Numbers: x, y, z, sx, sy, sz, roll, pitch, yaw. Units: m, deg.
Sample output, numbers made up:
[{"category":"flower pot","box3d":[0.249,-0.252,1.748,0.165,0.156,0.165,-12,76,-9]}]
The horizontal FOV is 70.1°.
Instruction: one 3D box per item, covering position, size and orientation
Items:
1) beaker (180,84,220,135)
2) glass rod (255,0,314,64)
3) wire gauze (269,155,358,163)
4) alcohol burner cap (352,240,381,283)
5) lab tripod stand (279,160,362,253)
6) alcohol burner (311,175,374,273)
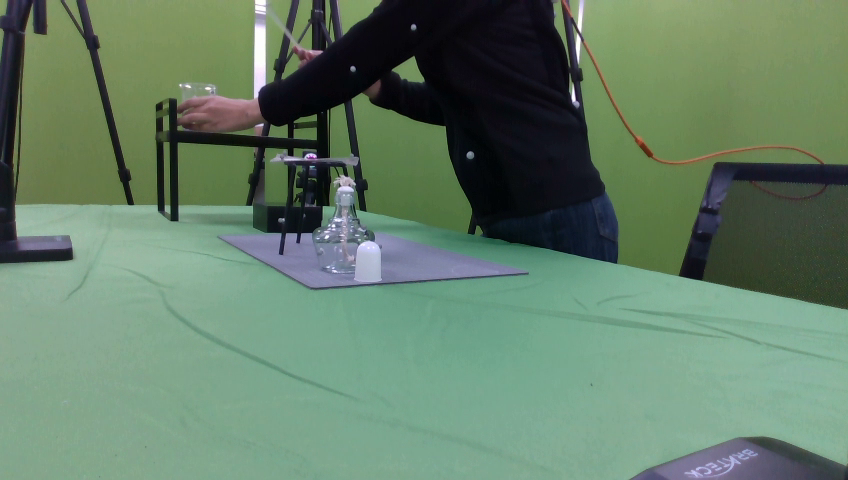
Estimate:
[{"category":"beaker","box3d":[-0.475,-0.275,1.281,0.073,0.100,0.084,7,9,36]},{"category":"glass rod","box3d":[-0.306,-0.455,1.289,0.008,0.200,0.008,-40,14,12]},{"category":"wire gauze","box3d":[-0.159,-0.118,0.886,0.122,0.011,0.125,1,7,-9]},{"category":"alcohol burner cap","box3d":[-0.065,0.023,0.690,0.034,0.048,0.034,2,8,0]},{"category":"lab tripod stand","box3d":[-0.166,-0.052,0.897,0.148,0.131,0.148,0,7,0]},{"category":"alcohol burner","box3d":[-0.100,-0.020,0.740,0.078,0.119,0.078,1,6,0]}]
